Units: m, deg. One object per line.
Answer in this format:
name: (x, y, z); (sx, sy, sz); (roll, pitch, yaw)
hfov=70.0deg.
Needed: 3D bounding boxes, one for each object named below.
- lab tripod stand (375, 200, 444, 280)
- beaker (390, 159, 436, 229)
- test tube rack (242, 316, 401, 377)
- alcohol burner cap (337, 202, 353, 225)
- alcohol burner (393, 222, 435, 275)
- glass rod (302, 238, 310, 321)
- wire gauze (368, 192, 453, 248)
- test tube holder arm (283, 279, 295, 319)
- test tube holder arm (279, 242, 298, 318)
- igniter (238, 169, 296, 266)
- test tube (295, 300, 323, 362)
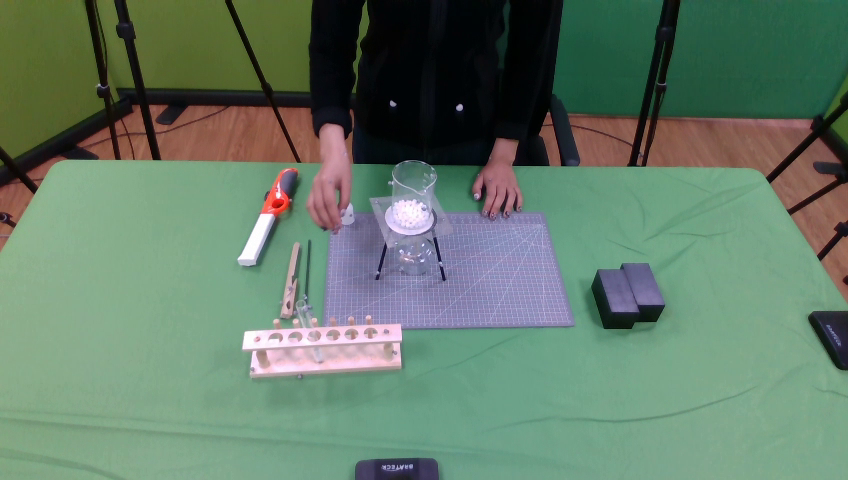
lab tripod stand: (-0.023, 0.004, 1.114); (0.148, 0.132, 0.147); (4, 45, -3)
beaker: (-0.020, -0.073, 1.029); (0.074, 0.101, 0.083); (-10, 48, -16)
test tube rack: (-0.160, 0.166, 0.983); (0.242, 0.085, 0.066); (-2, 46, -6)
alcohol burner cap: (-0.161, -0.056, 1.223); (0.034, 0.048, 0.033); (2, 46, -2)
alcohol burner: (-0.018, 0.009, 1.122); (0.078, 0.119, 0.077); (3, 47, -3)
glass rod: (-0.218, 0.069, 1.125); (0.008, 0.008, 0.198); (-2, 46, -5)
wire gauze: (-0.025, -0.041, 1.065); (0.122, 0.011, 0.124); (-10, 46, -18)
test tube holder arm: (-0.241, 0.103, 1.085); (0.010, 0.015, 0.087); (26, 38, -26)
test tube holder arm: (-0.248, 0.069, 1.114); (0.013, 0.015, 0.177); (25, 38, -26)
igniter: (-0.313, -0.055, 1.224); (0.057, 0.025, 0.275); (1, 45, 10)
test tube: (-0.176, 0.143, 0.935); (0.017, 0.151, 0.017); (-2, 46, 2)
